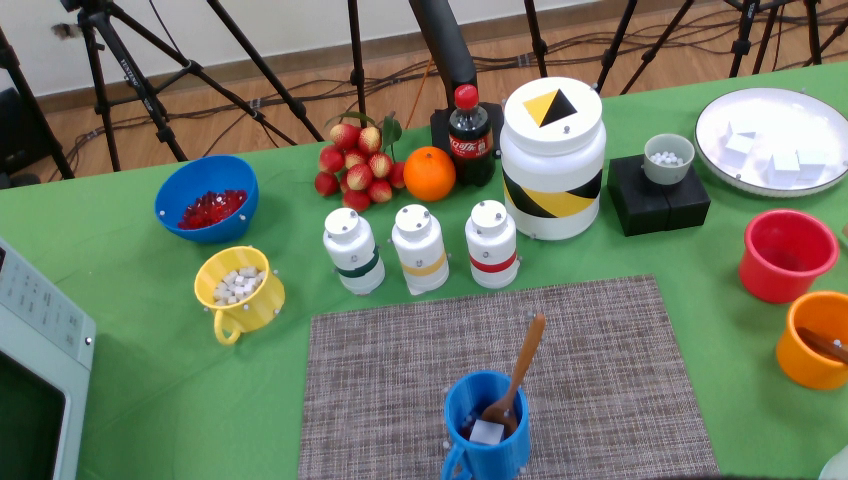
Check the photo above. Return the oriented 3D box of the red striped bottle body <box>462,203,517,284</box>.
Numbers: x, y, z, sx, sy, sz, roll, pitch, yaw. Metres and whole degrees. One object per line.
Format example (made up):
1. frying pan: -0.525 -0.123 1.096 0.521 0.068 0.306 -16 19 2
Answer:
1. red striped bottle body: 0.083 -0.001 0.768 0.063 0.121 0.062 -7 51 9

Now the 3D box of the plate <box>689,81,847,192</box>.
1. plate: 0.482 -0.143 0.854 0.209 0.038 0.207 -5 53 7

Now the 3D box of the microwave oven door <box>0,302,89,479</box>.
1. microwave oven door: -0.431 0.231 0.587 0.039 0.246 0.352 -15 52 -1

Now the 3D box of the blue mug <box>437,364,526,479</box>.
1. blue mug: 0.054 0.200 0.626 0.081 0.107 0.116 31 64 29

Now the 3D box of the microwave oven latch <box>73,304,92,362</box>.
1. microwave oven latch: -0.460 0.126 0.801 0.030 0.030 0.078 -15 53 -2

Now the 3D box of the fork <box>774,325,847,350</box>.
1. fork: 0.448 0.106 0.602 0.028 0.019 0.206 -40 12 -18

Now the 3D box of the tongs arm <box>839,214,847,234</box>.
1. tongs arm: 0.597 0.110 0.644 0.051 0.027 0.380 -16 53 -5

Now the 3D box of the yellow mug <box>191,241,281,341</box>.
1. yellow mug: -0.254 0.072 0.808 0.100 0.064 0.129 1 54 10

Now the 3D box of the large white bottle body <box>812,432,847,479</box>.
1. large white bottle body: 0.429 0.203 0.510 0.130 0.186 0.129 -5 53 7

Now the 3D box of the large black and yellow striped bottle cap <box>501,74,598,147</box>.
1. large black and yellow striped bottle cap: 0.150 -0.158 0.726 0.115 0.019 0.114 -5 52 7

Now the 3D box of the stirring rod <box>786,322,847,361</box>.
1. stirring rod: 0.418 0.111 0.613 0.014 0.006 0.175 -4 10 4

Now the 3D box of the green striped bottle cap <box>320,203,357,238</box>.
1. green striped bottle cap: -0.107 -0.025 0.754 0.044 0.020 0.044 -4 52 5

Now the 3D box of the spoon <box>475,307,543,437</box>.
1. spoon: 0.086 0.136 0.597 0.041 0.195 0.021 25 44 14

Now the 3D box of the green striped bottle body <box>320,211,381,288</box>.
1. green striped bottle body: -0.097 0.006 0.796 0.063 0.120 0.062 -5 53 7

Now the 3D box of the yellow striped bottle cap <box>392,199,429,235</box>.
1. yellow striped bottle cap: -0.017 -0.029 0.741 0.044 0.019 0.044 -5 54 7

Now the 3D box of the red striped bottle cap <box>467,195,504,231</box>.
1. red striped bottle cap: 0.074 -0.033 0.727 0.044 0.018 0.044 -3 51 4

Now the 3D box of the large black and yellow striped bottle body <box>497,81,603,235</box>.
1. large black and yellow striped bottle body: 0.163 -0.109 0.794 0.130 0.186 0.129 -5 53 7

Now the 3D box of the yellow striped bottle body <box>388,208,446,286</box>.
1. yellow striped bottle body: -0.009 0.002 0.782 0.063 0.121 0.062 -5 52 7

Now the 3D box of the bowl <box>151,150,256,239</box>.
1. bowl: -0.316 -0.055 0.908 0.151 0.077 0.150 -4 53 6

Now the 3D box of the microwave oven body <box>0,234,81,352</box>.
1. microwave oven body: -0.581 0.240 0.614 0.326 0.263 0.436 -15 53 -2

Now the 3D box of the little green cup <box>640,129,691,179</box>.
1. little green cup: 0.314 -0.111 0.796 0.061 0.039 0.061 -4 51 5
